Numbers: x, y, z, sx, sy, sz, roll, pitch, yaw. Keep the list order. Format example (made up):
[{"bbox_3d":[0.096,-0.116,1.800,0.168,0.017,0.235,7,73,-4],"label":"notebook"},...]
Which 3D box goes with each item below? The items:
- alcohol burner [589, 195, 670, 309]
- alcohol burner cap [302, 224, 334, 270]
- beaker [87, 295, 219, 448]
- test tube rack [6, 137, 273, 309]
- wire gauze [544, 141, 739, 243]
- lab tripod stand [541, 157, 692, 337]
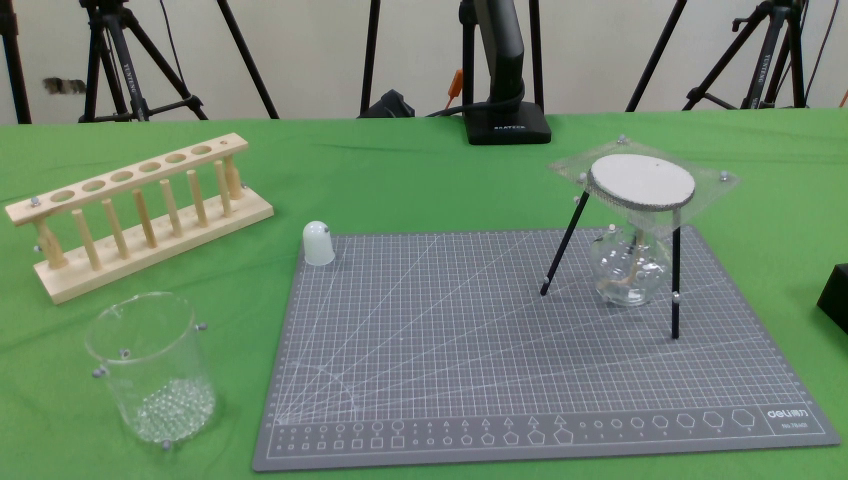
[{"bbox_3d":[0.199,0.007,0.575,0.078,0.120,0.077,0,38,0],"label":"alcohol burner"},{"bbox_3d":[-0.113,0.005,0.642,0.034,0.048,0.033,0,37,0],"label":"alcohol burner cap"},{"bbox_3d":[-0.204,0.102,0.464,0.083,0.101,0.074,24,43,31],"label":"beaker"},{"bbox_3d":[-0.292,-0.027,0.655,0.242,0.086,0.066,-27,44,-32],"label":"test tube rack"},{"bbox_3d":[0.186,-0.051,0.523,0.121,0.011,0.124,-25,44,-31],"label":"wire gauze"},{"bbox_3d":[0.191,0.002,0.564,0.148,0.132,0.147,1,36,-1],"label":"lab tripod stand"}]
